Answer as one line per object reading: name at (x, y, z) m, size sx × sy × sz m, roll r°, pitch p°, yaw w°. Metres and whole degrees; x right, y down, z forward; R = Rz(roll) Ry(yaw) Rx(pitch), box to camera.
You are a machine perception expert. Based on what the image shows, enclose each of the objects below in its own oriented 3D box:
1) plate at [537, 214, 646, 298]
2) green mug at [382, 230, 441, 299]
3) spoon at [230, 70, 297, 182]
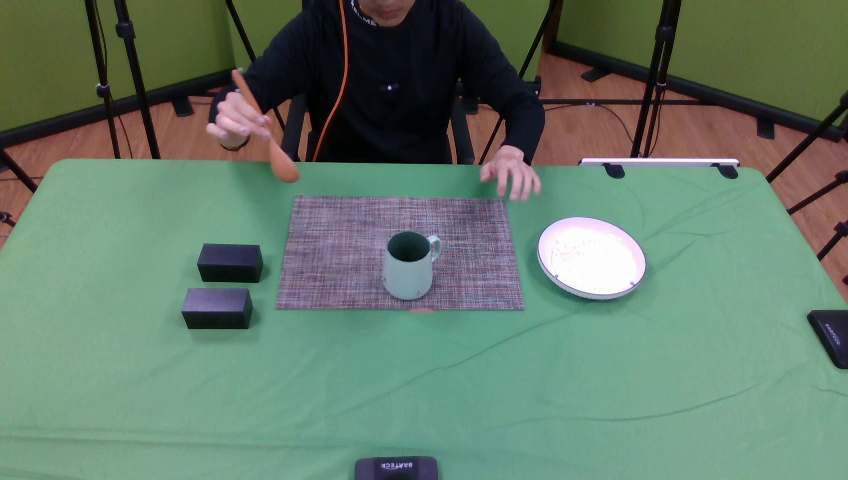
plate at (0.321, 0.035, 1.176) m, size 0.209 × 0.038 × 0.208 m, roll 2°, pitch 47°, yaw -2°
green mug at (-0.017, 0.037, 1.097) m, size 0.125 × 0.105 × 0.092 m, roll -34°, pitch 57°, yaw -31°
spoon at (-0.255, -0.176, 0.956) m, size 0.041 × 0.194 × 0.021 m, roll -16°, pitch 22°, yaw 21°
